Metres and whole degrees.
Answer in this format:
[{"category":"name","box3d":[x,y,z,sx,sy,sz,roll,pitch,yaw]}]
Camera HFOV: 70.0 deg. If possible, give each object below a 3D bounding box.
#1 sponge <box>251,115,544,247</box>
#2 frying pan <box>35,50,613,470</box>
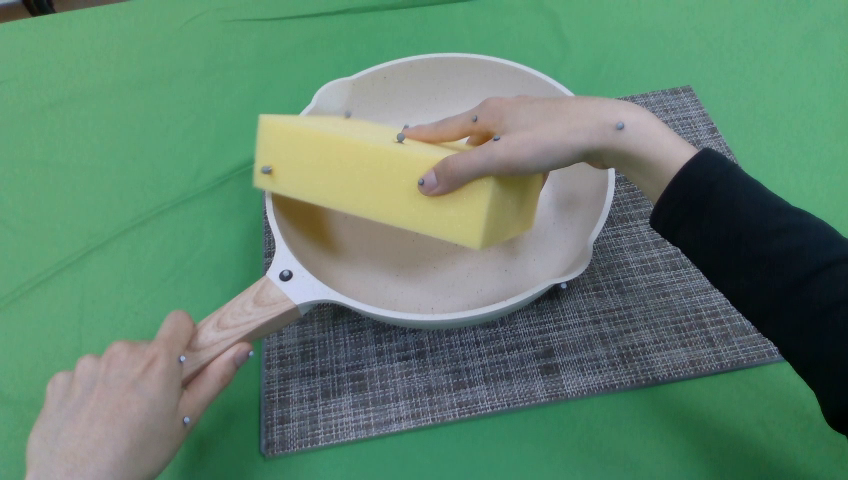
[{"category":"sponge","box3d":[-0.021,-0.055,0.496,0.205,0.061,0.118,15,15,24]},{"category":"frying pan","box3d":[-0.064,0.006,0.486,0.488,0.103,0.304,-35,58,-27]}]
